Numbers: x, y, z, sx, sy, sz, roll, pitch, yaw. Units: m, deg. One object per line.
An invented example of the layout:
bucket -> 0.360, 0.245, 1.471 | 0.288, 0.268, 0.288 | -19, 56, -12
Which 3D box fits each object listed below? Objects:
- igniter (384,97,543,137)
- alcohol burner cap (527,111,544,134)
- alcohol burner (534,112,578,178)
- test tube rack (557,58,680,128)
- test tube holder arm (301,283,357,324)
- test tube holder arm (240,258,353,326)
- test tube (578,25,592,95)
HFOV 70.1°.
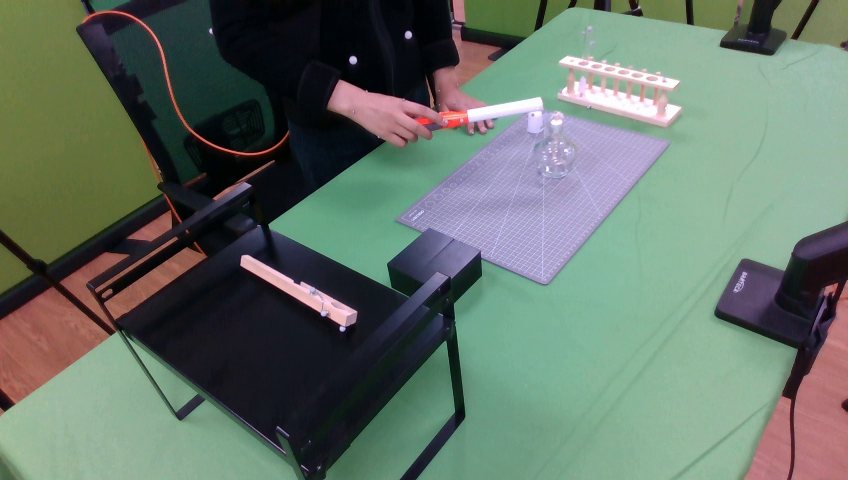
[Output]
igniter -> 0.065, -0.212, 1.044 | 0.276, 0.025, 0.057 | -9, 30, 5
alcohol burner cap -> 0.222, -0.238, 1.203 | 0.034, 0.048, 0.033 | -5, 41, 5
alcohol burner -> 0.232, -0.170, 1.066 | 0.078, 0.119, 0.077 | -5, 39, 5
test tube rack -> 0.395, -0.309, 1.230 | 0.240, 0.085, 0.067 | 25, 50, 33
test tube holder arm -> -0.105, 0.066, 0.638 | 0.087, 0.015, 0.010 | 22, 14, 33
test tube holder arm -> -0.143, 0.053, 0.658 | 0.177, 0.015, 0.013 | 21, 14, 33
test tube -> 0.326, -0.362, 1.227 | 0.017, 0.151, 0.017 | -3, 44, 4
